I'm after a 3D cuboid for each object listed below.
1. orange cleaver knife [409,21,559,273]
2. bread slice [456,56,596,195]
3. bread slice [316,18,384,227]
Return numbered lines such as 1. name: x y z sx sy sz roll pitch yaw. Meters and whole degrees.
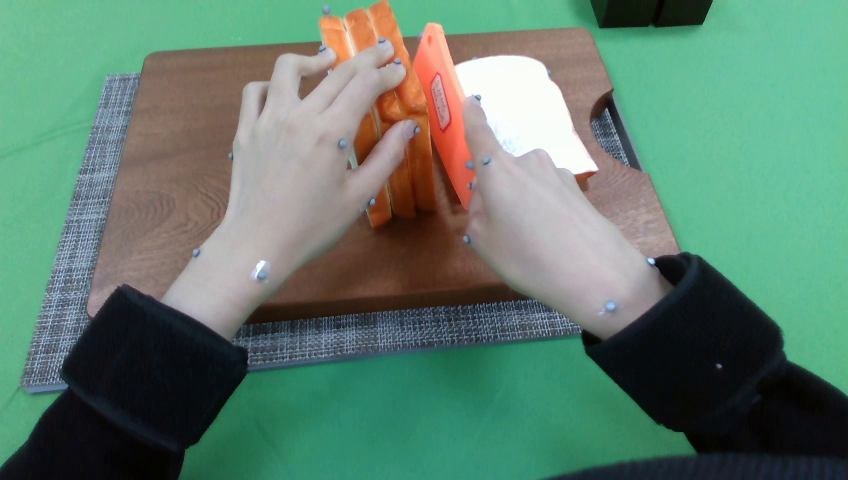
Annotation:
1. orange cleaver knife: 0.030 -0.058 0.397 0.012 0.077 0.209 -10 59 -21
2. bread slice: 0.062 -0.093 0.474 0.105 0.019 0.130 -11 59 -6
3. bread slice: -0.053 -0.089 0.427 0.018 0.108 0.133 -13 49 -8
